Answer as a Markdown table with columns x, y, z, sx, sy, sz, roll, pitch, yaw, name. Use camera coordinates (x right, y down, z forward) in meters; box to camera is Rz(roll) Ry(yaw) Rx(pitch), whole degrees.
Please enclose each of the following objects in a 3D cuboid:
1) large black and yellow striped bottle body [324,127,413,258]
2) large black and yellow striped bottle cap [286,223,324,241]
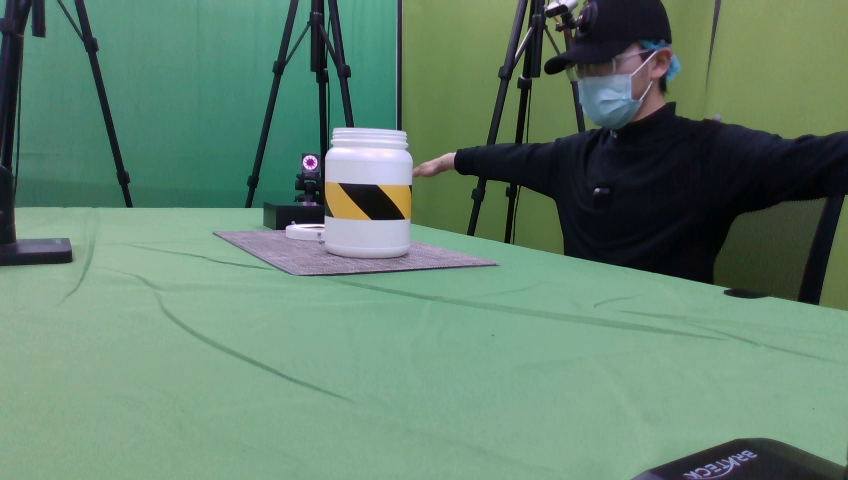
| x | y | z | sx | sy | sz | roll | pitch | yaw | name |
| --- | --- | --- | --- | --- | --- | --- | --- | --- | --- |
| -0.083 | -0.073 | 0.899 | 0.131 | 0.184 | 0.130 | 2 | 7 | 0 | large black and yellow striped bottle body |
| -0.187 | -0.015 | 1.077 | 0.115 | 0.019 | 0.115 | 2 | 9 | 0 | large black and yellow striped bottle cap |
